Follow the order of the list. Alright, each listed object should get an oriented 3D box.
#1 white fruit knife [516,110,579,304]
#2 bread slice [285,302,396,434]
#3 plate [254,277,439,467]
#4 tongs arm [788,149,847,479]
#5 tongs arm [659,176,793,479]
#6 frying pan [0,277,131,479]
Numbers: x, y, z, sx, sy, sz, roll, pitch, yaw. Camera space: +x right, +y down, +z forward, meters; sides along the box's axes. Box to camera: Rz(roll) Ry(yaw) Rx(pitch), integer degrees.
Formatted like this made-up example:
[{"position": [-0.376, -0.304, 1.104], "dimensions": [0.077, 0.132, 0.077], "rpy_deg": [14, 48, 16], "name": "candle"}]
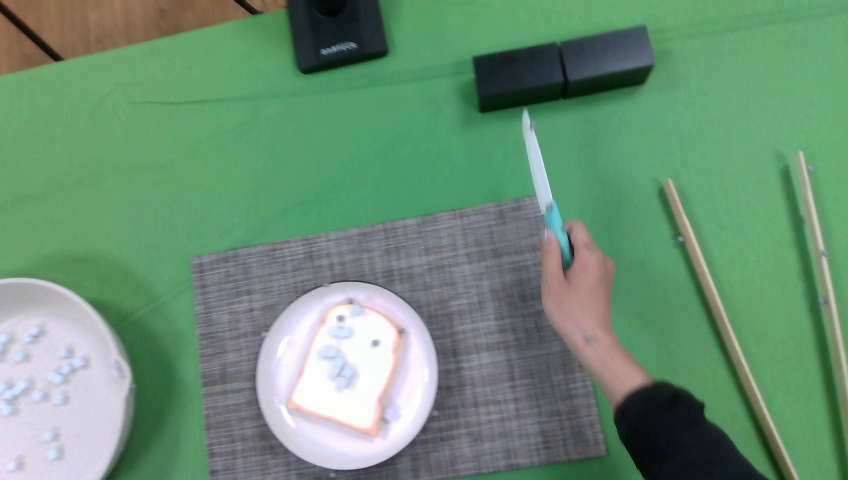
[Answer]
[{"position": [0.126, -0.032, 0.622], "dimensions": [0.016, 0.027, 0.207], "rpy_deg": [-20, 97, -30], "name": "white fruit knife"}, {"position": [-0.090, 0.139, 0.691], "dimensions": [0.107, 0.018, 0.134], "rpy_deg": [14, 82, 7], "name": "bread slice"}, {"position": [-0.085, 0.146, 0.688], "dimensions": [0.207, 0.039, 0.206], "rpy_deg": [-1, 79, 6], "name": "plate"}, {"position": [0.416, 0.090, 0.653], "dimensions": [0.051, 0.026, 0.383], "rpy_deg": [-7, 79, 5], "name": "tongs arm"}, {"position": [0.339, 0.106, 0.661], "dimensions": [0.028, 0.028, 0.385], "rpy_deg": [-19, 78, -1], "name": "tongs arm"}, {"position": [-0.452, 0.285, 0.667], "dimensions": [0.307, 0.103, 0.484], "rpy_deg": [-14, 70, 4], "name": "frying pan"}]
